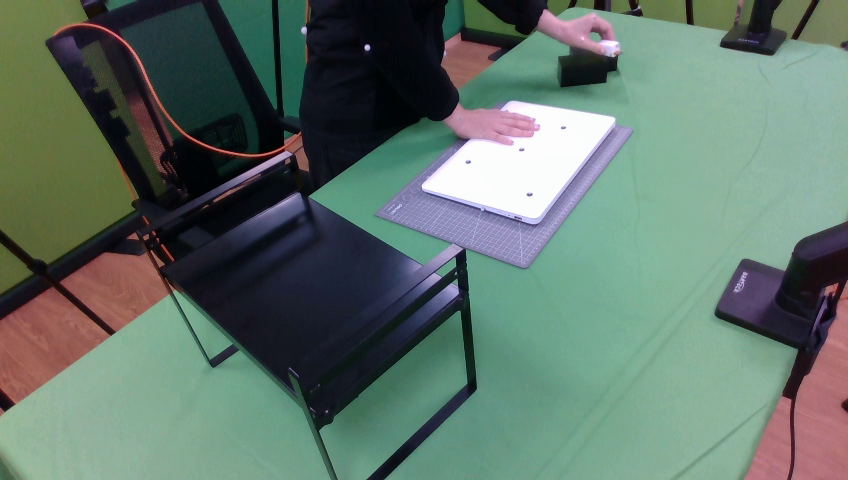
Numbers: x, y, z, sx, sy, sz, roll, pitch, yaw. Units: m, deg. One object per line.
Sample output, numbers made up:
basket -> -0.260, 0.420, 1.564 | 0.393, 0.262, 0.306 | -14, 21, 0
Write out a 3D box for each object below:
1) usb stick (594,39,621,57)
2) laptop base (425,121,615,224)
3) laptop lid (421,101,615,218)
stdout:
usb stick -> 0.387, -0.403, 1.271 | 0.021, 0.027, 0.058 | -36, 44, -16
laptop base -> 0.185, -0.158, 1.133 | 0.234, 0.023, 0.355 | 17, 46, 30
laptop lid -> 0.182, -0.166, 1.127 | 0.240, 0.013, 0.357 | 19, 47, 31
